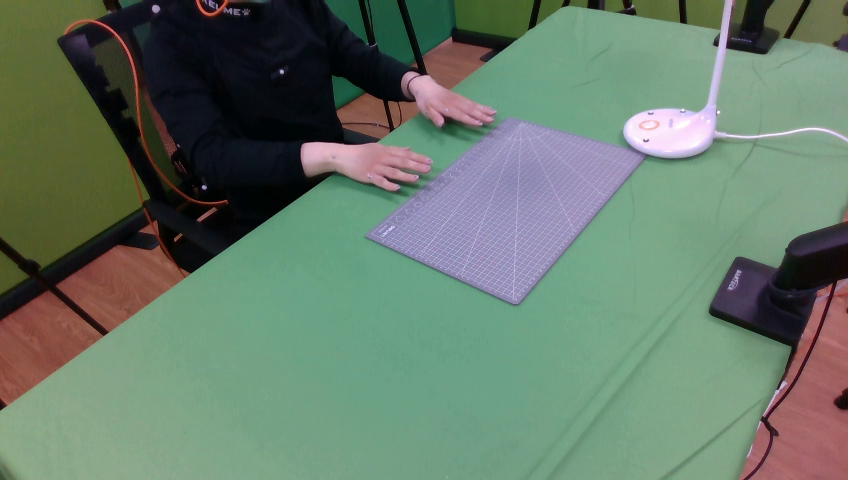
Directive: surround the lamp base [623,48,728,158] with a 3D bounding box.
[{"bbox_3d":[0.462,-0.261,1.084,0.179,0.181,0.160,3,42,7],"label":"lamp base"}]
